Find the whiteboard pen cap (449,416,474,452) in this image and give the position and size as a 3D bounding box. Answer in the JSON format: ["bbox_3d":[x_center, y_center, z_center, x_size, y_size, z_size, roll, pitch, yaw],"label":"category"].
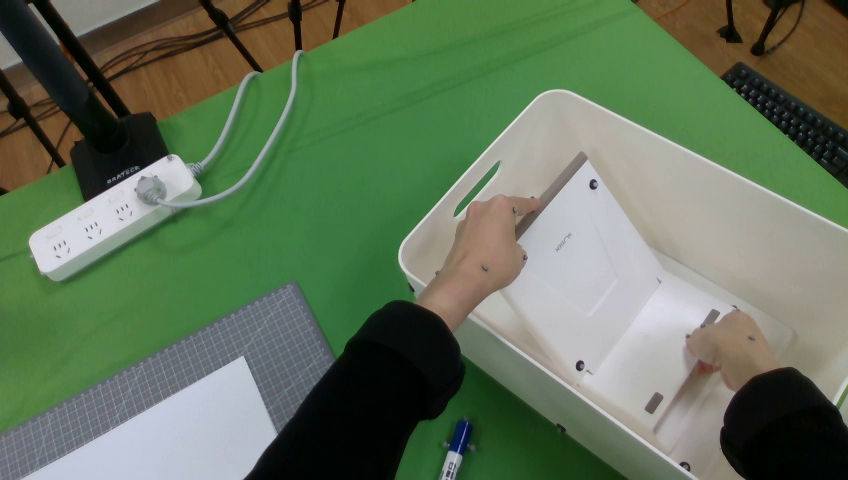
[{"bbox_3d":[0.036,0.193,0.600,0.018,0.018,0.033,15,65,15],"label":"whiteboard pen cap"}]

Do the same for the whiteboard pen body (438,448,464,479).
[{"bbox_3d":[0.016,0.243,0.576,0.017,0.017,0.140,16,64,16],"label":"whiteboard pen body"}]

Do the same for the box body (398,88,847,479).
[{"bbox_3d":[0.193,0.057,0.573,0.361,0.162,0.253,34,70,22],"label":"box body"}]

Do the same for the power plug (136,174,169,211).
[{"bbox_3d":[-0.330,-0.050,0.745,0.035,0.053,0.072,-24,67,-7],"label":"power plug"}]

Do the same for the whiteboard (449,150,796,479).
[{"bbox_3d":[0.188,0.054,0.583,0.303,0.145,0.217,35,69,23],"label":"whiteboard"}]

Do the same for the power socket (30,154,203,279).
[{"bbox_3d":[-0.386,-0.032,0.767,0.227,0.033,0.071,-33,63,-12],"label":"power socket"}]

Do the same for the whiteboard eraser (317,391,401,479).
[{"bbox_3d":[-0.064,0.208,0.587,0.055,0.042,0.112,11,63,14],"label":"whiteboard eraser"}]
